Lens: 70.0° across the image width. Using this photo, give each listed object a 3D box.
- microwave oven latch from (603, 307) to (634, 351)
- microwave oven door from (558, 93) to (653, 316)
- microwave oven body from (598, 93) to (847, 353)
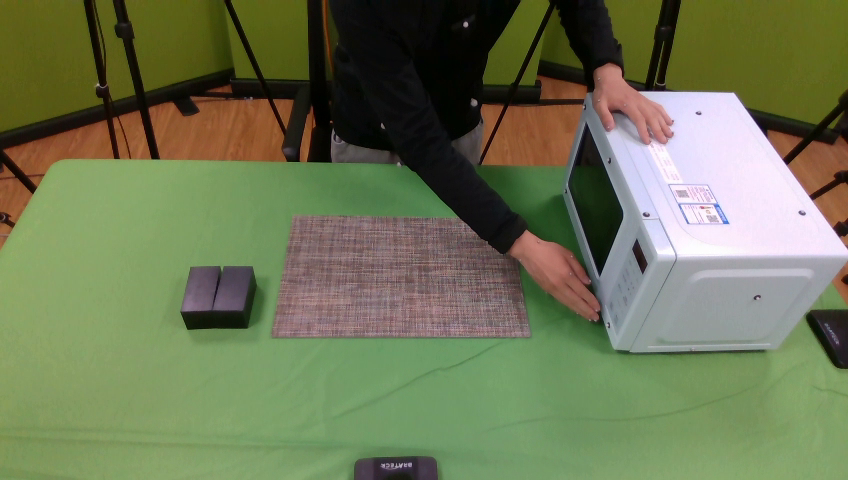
[{"bbox_3d":[0.332,0.153,1.044,0.030,0.029,0.078,0,45,-3],"label":"microwave oven latch"},{"bbox_3d":[0.327,-0.074,1.123,0.039,0.245,0.353,0,46,-5],"label":"microwave oven door"},{"bbox_3d":[0.475,-0.041,1.109,0.326,0.261,0.438,-1,45,-4],"label":"microwave oven body"}]
